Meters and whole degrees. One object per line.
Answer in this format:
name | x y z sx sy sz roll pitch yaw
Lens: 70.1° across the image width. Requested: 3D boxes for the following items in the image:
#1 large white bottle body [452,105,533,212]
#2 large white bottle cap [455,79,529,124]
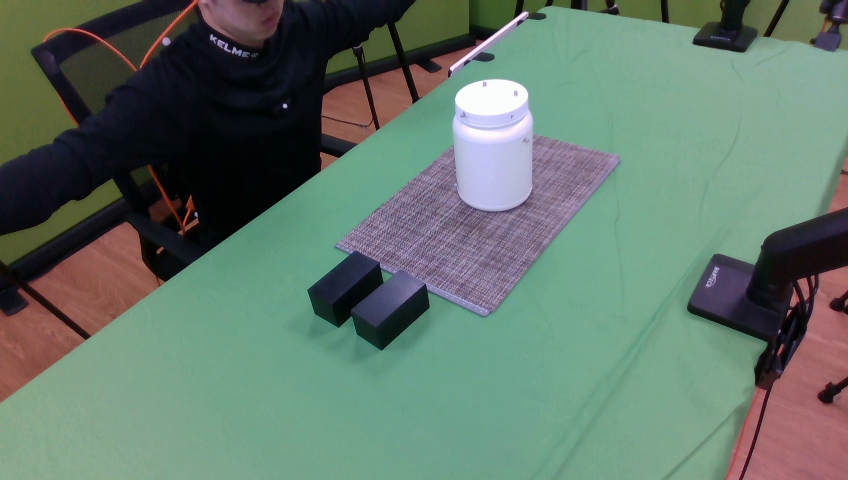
large white bottle body | 0.115 -0.155 1.001 0.130 0.185 0.130 -5 41 4
large white bottle cap | 0.106 -0.218 0.945 0.115 0.018 0.114 -4 41 4
